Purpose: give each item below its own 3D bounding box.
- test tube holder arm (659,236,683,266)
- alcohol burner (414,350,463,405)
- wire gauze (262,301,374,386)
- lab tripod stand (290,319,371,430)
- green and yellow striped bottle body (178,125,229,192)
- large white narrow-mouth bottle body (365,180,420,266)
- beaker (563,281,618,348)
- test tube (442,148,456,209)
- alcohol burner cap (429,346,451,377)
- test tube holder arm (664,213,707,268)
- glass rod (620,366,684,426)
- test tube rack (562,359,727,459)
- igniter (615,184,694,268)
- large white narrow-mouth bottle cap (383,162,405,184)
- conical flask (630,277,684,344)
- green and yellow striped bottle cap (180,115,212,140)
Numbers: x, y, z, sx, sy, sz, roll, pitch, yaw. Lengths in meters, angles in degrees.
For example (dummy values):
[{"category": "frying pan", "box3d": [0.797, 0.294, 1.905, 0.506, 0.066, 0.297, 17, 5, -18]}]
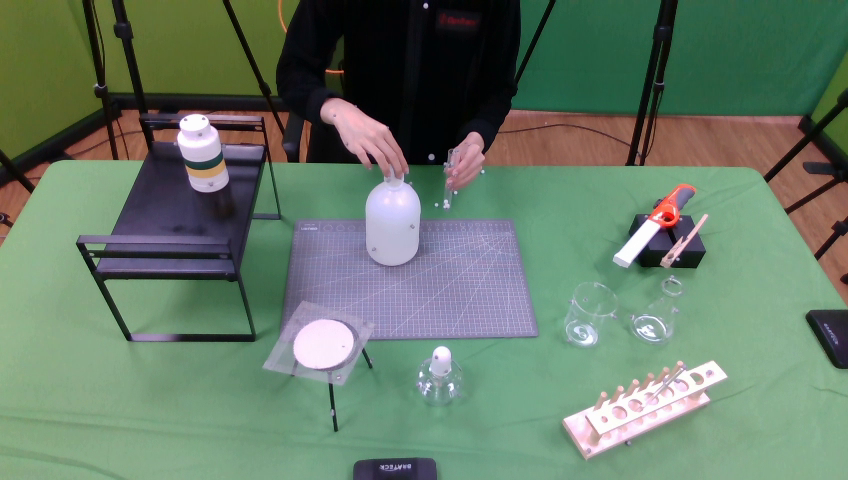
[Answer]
[{"category": "test tube holder arm", "box3d": [0.472, 0.020, 1.149, 0.010, 0.015, 0.088, 35, 54, 27]}, {"category": "alcohol burner", "box3d": [0.023, 0.205, 0.939, 0.078, 0.120, 0.077, 1, 48, -1]}, {"category": "wire gauze", "box3d": [-0.150, 0.148, 0.873, 0.121, 0.011, 0.124, 14, 46, 12]}, {"category": "lab tripod stand", "box3d": [-0.146, 0.193, 0.923, 0.148, 0.132, 0.147, 1, 47, -1]}, {"category": "green and yellow striped bottle body", "box3d": [-0.361, -0.142, 0.989, 0.063, 0.120, 0.063, 2, 46, -2]}, {"category": "large white narrow-mouth bottle body", "box3d": [-0.058, -0.048, 1.116, 0.102, 0.195, 0.101, 3, 45, -2]}, {"category": "beaker", "box3d": [0.283, 0.129, 1.041, 0.074, 0.101, 0.083, 11, 46, 7]}, {"category": "test tube", "box3d": [0.045, -0.108, 1.103, 0.017, 0.151, 0.017, 2, 52, -2]}, {"category": "alcohol burner cap", "box3d": [0.026, 0.180, 0.912, 0.034, 0.048, 0.033, 1, 47, -1]}, {"category": "test tube holder arm", "box3d": [0.507, -0.001, 1.171, 0.013, 0.015, 0.178, 33, 53, 26]}, {"category": "glass rod", "box3d": [0.323, 0.227, 0.866, 0.008, 0.200, 0.008, 5, 51, -7]}, {"category": "test tube rack", "box3d": [0.341, 0.247, 0.940, 0.243, 0.085, 0.066, -16, 49, -18]}, {"category": "igniter", "box3d": [0.459, -0.035, 1.197, 0.057, 0.025, 0.276, 32, 55, 27]}, {"category": "large white narrow-mouth bottle cap", "box3d": [-0.052, -0.116, 1.050, 0.038, 0.024, 0.037, 3, 45, -3]}, {"category": "conical flask", "box3d": [0.408, 0.117, 1.045, 0.075, 0.122, 0.075, 2, 46, -2]}, {"category": "green and yellow striped bottle cap", "box3d": [-0.358, -0.177, 0.951, 0.045, 0.020, 0.045, 2, 45, -2]}]
